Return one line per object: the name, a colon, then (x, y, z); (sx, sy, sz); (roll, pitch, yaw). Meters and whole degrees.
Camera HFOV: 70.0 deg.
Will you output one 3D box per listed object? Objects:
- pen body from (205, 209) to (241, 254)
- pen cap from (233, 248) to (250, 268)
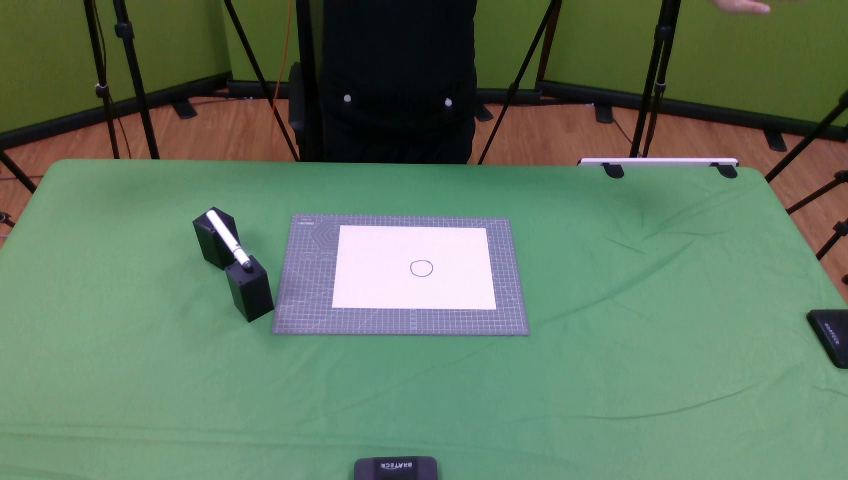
pen body: (-0.340, -0.006, 1.042); (0.017, 0.017, 0.143); (-27, 53, -27)
pen cap: (-0.303, 0.031, 1.008); (0.017, 0.017, 0.038); (-28, 56, -28)
